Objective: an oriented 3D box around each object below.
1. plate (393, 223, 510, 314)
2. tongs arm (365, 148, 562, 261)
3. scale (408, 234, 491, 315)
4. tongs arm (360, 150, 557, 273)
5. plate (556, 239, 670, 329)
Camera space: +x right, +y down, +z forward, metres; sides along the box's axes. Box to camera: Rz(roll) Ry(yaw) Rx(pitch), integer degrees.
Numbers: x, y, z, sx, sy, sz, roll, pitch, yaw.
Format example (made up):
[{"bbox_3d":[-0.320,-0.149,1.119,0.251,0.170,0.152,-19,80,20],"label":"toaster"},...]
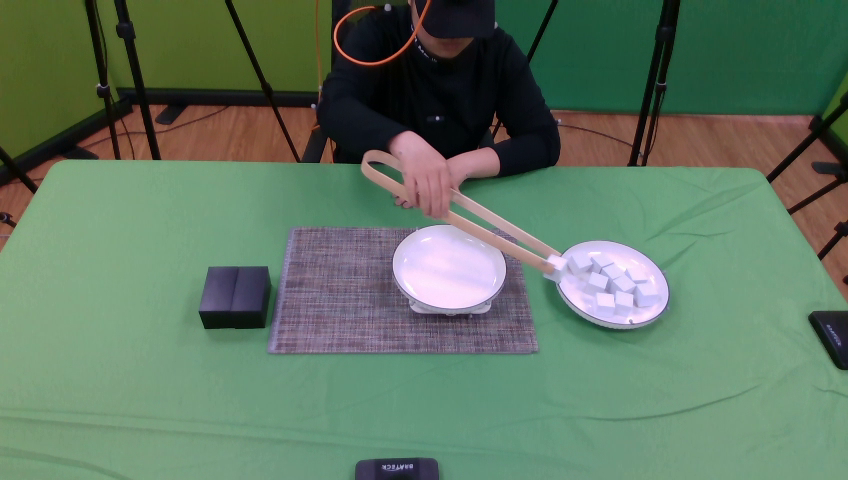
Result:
[{"bbox_3d":[0.048,0.053,1.092,0.208,0.039,0.206,1,46,-1],"label":"plate"},{"bbox_3d":[0.066,-0.064,1.064,0.387,0.028,0.028,30,50,6],"label":"tongs arm"},{"bbox_3d":[0.045,0.055,1.135,0.149,0.032,0.199,1,46,-3],"label":"scale"},{"bbox_3d":[0.056,-0.050,1.047,0.385,0.026,0.050,27,46,3],"label":"tongs arm"},{"bbox_3d":[0.347,0.083,1.130,0.209,0.038,0.208,2,47,-2],"label":"plate"}]
